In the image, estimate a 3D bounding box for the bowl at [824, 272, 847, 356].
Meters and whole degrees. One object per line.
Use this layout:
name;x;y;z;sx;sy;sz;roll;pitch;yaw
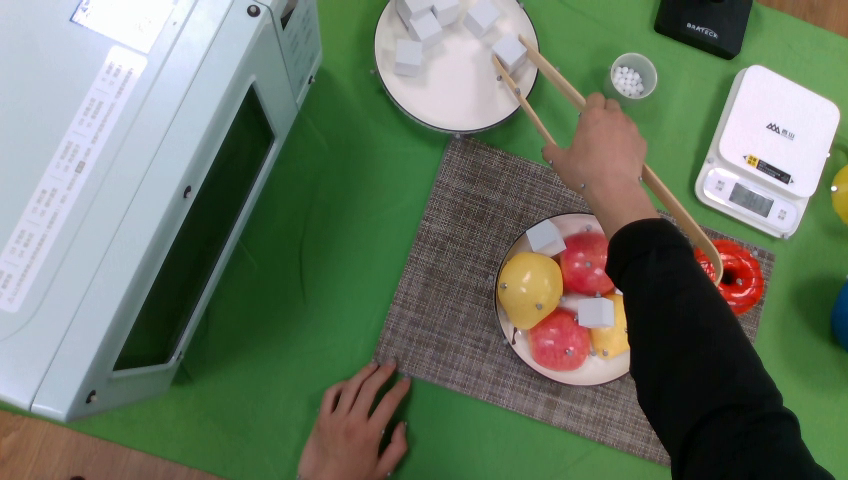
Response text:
bowl;0.566;0.096;0.760;0.151;0.077;0.151;1;83;-6

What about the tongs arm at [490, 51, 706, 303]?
tongs arm;0.177;-0.089;0.670;0.051;0.027;0.381;-25;61;1

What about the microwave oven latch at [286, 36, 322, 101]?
microwave oven latch;-0.147;-0.206;0.713;0.030;0.029;0.079;26;81;-3

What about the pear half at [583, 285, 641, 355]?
pear half;0.227;0.096;0.728;0.070;0.031;0.088;22;78;10

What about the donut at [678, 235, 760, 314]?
donut;0.366;0.043;0.755;0.099;0.048;0.098;1;82;-4

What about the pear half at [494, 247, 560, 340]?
pear half;0.120;0.065;0.704;0.076;0.056;0.109;14;85;-13

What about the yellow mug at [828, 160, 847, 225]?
yellow mug;0.592;-0.082;0.791;0.100;0.064;0.130;-12;83;-7

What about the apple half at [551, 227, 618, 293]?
apple half;0.194;0.022;0.723;0.075;0.053;0.080;8;85;-3

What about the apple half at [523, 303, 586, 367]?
apple half;0.158;0.112;0.715;0.081;0.033;0.081;2;76;-8

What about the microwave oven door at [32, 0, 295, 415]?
microwave oven door;-0.221;-0.021;0.577;0.039;0.244;0.355;23;80;-3

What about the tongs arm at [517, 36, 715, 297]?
tongs arm;0.199;-0.101;0.670;0.028;0.028;0.383;-27;61;-4

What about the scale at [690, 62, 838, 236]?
scale;0.447;-0.120;0.796;0.149;0.031;0.200;25;81;-3

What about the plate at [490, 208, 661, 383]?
plate;0.180;0.066;0.733;0.209;0.038;0.208;1;83;-7

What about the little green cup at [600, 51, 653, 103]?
little green cup;0.259;-0.208;0.782;0.061;0.038;0.061;1;82;-6

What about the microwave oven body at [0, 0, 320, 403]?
microwave oven body;-0.340;-0.116;0.581;0.326;0.260;0.440;23;81;-4

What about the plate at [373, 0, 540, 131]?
plate;0.040;-0.233;0.758;0.208;0.039;0.207;1;82;-7
